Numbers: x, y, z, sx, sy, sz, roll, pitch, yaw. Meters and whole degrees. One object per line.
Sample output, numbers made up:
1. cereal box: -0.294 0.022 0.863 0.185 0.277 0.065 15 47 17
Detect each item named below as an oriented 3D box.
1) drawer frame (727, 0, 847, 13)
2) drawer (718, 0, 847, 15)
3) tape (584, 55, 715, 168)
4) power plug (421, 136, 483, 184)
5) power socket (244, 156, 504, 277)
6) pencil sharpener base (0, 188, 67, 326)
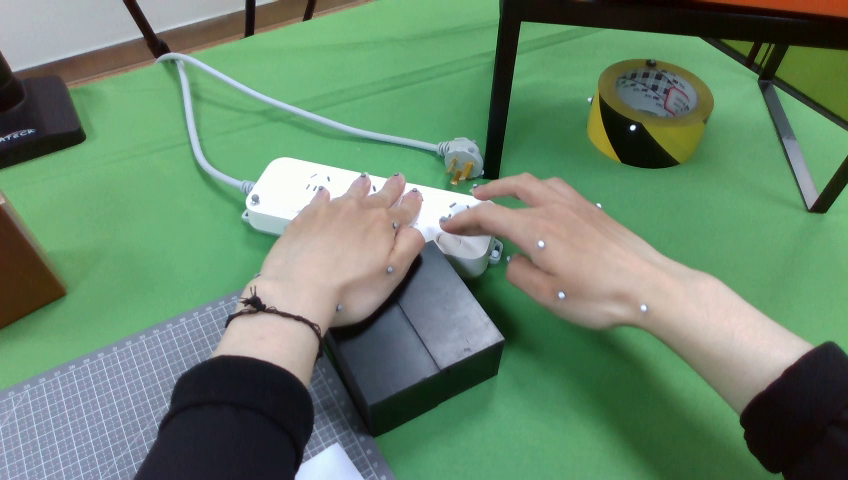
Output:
1. drawer frame: 0.237 -0.267 0.462 0.201 0.083 0.211 7 49 5
2. drawer: 0.237 -0.261 0.460 0.194 0.074 0.210 8 49 6
3. tape: 0.222 -0.129 0.601 0.117 0.053 0.115 1 50 0
4. power plug: 0.024 -0.071 0.573 0.072 0.035 0.052 -12 39 43
5. power socket: -0.043 -0.023 0.518 0.226 0.033 0.071 12 50 10
6. pencil sharpener base: -0.324 0.009 0.435 0.076 0.108 0.061 -35 59 -26
